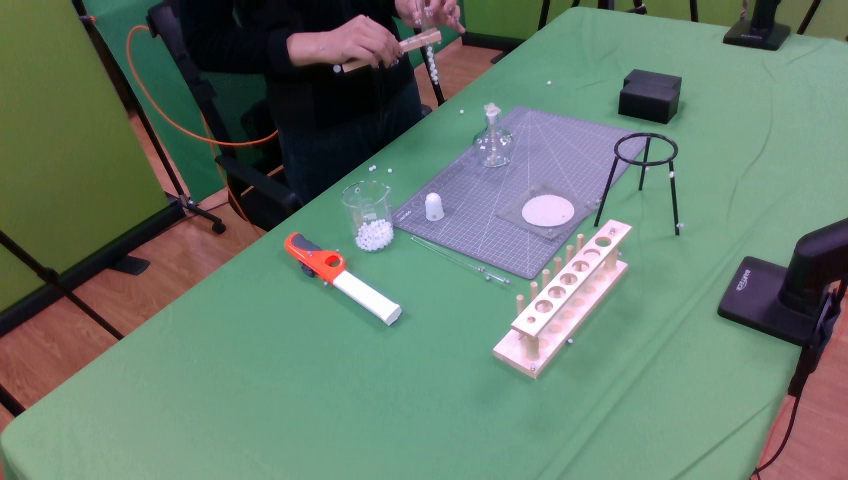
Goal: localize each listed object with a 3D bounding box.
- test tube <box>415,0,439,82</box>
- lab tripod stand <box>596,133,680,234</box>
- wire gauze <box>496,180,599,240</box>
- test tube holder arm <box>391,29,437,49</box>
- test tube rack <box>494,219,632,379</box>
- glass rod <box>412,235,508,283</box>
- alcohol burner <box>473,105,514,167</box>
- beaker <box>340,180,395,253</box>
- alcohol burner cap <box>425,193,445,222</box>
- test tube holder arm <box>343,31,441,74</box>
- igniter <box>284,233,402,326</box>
[{"bbox_3d":[0.006,-0.347,1.057,0.017,0.151,0.017,-8,40,8],"label":"test tube"},{"bbox_3d":[0.338,-0.091,0.940,0.148,0.132,0.147,-7,39,6],"label":"lab tripod stand"},{"bbox_3d":[0.206,-0.050,1.012,0.125,0.011,0.120,-34,45,-26],"label":"wire gauze"},{"bbox_3d":[-0.016,-0.345,1.054,0.088,0.015,0.010,-27,39,-12],"label":"test tube holder arm"},{"bbox_3d":[0.191,0.068,0.818,0.066,0.085,0.243,25,51,35],"label":"test tube rack"},{"bbox_3d":[0.051,0.028,0.951,0.198,0.008,0.008,25,51,37],"label":"glass rod"},{"bbox_3d":[0.128,-0.196,1.116,0.078,0.119,0.077,-4,40,4],"label":"alcohol burner"},{"bbox_3d":[-0.087,-0.037,0.985,0.084,0.101,0.073,-18,41,-11],"label":"beaker"},{"bbox_3d":[0.017,-0.058,1.029,0.034,0.048,0.033,-6,40,5],"label":"alcohol burner cap"},{"bbox_3d":[-0.055,-0.324,1.044,0.179,0.015,0.013,-22,38,-5],"label":"test tube holder arm"},{"bbox_3d":[-0.136,0.054,0.942,0.274,0.025,0.057,30,64,37],"label":"igniter"}]
